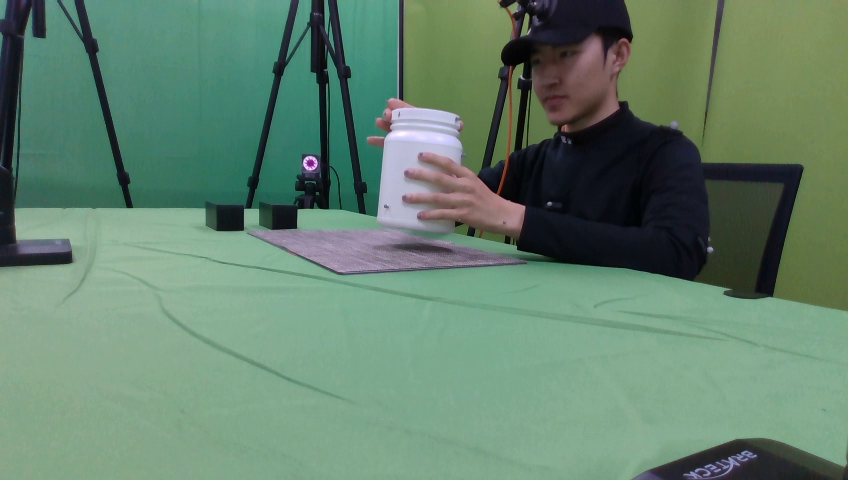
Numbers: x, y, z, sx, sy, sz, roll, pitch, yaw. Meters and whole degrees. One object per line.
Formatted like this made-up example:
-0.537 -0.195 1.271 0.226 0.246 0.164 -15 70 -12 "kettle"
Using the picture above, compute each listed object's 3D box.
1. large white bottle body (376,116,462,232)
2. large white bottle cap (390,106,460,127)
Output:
-0.006 -0.111 0.992 0.131 0.184 0.130 5 4 0 "large white bottle body"
0.002 -0.199 0.988 0.115 0.018 0.115 5 2 0 "large white bottle cap"
